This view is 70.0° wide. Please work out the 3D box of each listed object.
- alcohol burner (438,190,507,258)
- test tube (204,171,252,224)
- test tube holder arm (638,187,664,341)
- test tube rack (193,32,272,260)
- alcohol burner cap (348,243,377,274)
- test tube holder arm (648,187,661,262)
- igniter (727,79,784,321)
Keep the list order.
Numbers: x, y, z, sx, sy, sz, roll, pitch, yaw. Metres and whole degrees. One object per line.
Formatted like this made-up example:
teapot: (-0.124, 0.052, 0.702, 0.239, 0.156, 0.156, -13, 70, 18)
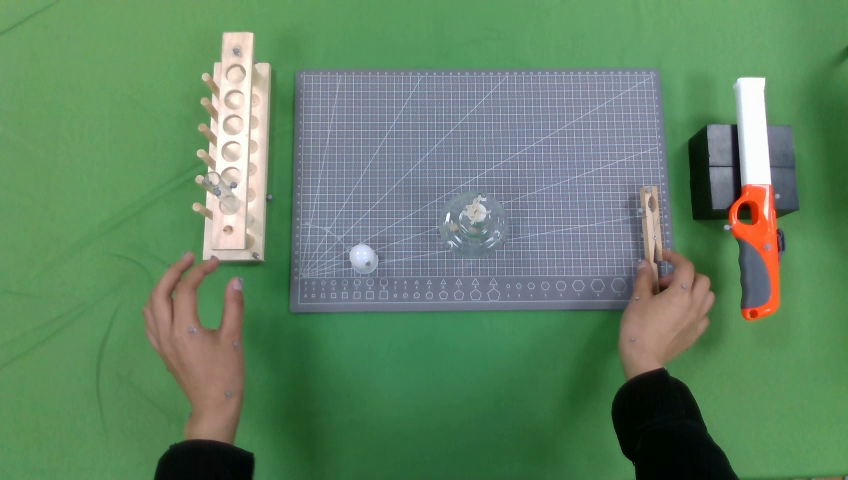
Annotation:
alcohol burner: (0.054, -0.020, 0.661, 0.078, 0.119, 0.077, 0, 81, 0)
test tube: (-0.200, -0.041, 0.626, 0.017, 0.150, 0.017, 1, 78, -4)
test tube holder arm: (0.264, 0.027, 0.703, 0.013, 0.015, 0.178, -2, 84, -6)
test tube rack: (-0.220, -0.103, 0.686, 0.067, 0.085, 0.241, 0, 80, 0)
alcohol burner cap: (-0.071, 0.019, 0.687, 0.034, 0.048, 0.033, 0, 80, -1)
test tube holder arm: (0.267, -0.018, 0.708, 0.010, 0.015, 0.087, -1, 84, -6)
igniter: (0.365, -0.048, 0.673, 0.057, 0.025, 0.275, 2, 79, 5)
